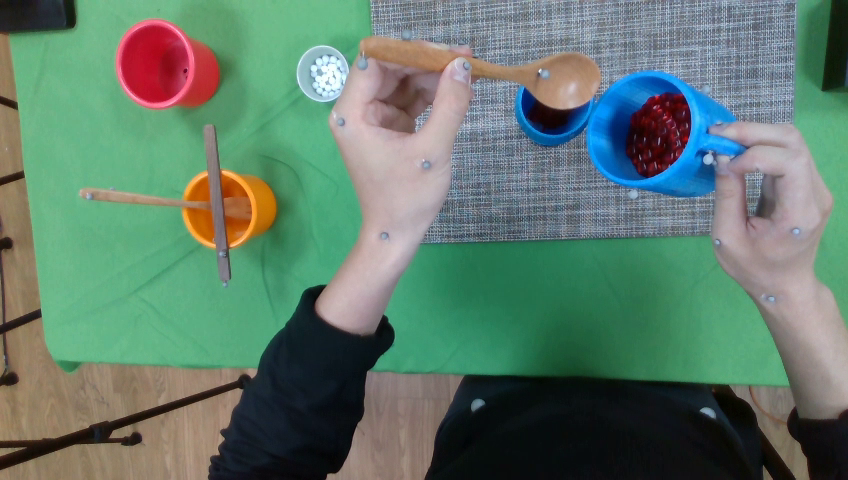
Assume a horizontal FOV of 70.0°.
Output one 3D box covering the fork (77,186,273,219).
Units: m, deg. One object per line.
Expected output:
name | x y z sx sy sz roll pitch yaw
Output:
fork | -0.276 -0.044 0.690 0.209 0.018 0.028 4 110 -35

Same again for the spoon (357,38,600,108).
spoon | 0.044 -0.108 0.379 0.021 0.195 0.042 50 130 34

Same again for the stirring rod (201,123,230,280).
stirring rod | -0.234 -0.042 0.681 0.014 0.006 0.176 -2 98 11

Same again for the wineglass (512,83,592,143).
wineglass | 0.124 -0.130 0.595 0.073 0.172 0.074 1 98 10

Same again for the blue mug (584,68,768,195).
blue mug | 0.197 -0.074 0.457 0.115 0.106 0.082 23 104 39

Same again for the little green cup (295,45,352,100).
little green cup | -0.113 -0.190 0.698 0.061 0.038 0.061 1 99 10
